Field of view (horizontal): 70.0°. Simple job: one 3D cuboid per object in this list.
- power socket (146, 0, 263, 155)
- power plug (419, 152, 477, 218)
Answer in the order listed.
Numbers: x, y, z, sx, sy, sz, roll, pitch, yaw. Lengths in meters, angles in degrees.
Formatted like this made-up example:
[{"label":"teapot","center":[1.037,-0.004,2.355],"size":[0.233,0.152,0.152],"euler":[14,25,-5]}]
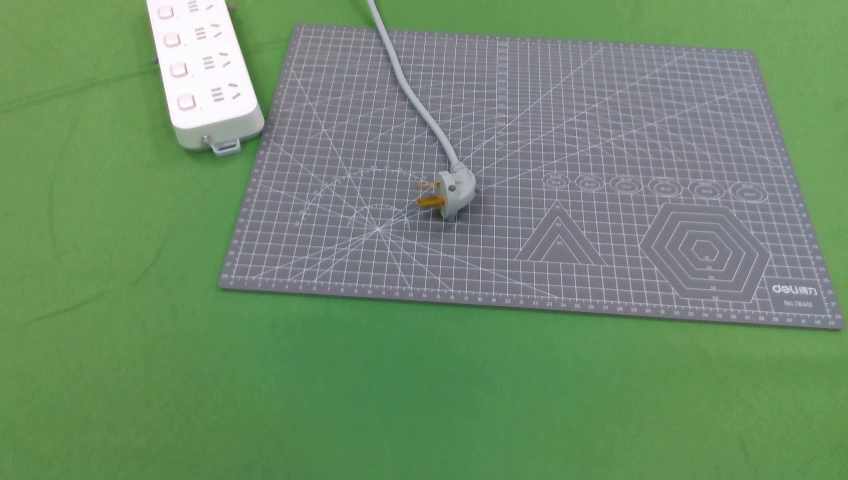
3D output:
[{"label":"power socket","center":[-0.203,-0.169,0.551],"size":[0.072,0.033,0.224],"euler":[-16,59,-13]},{"label":"power plug","center":[0.019,-0.042,0.444],"size":[0.035,0.073,0.052],"euler":[-1,89,10]}]
